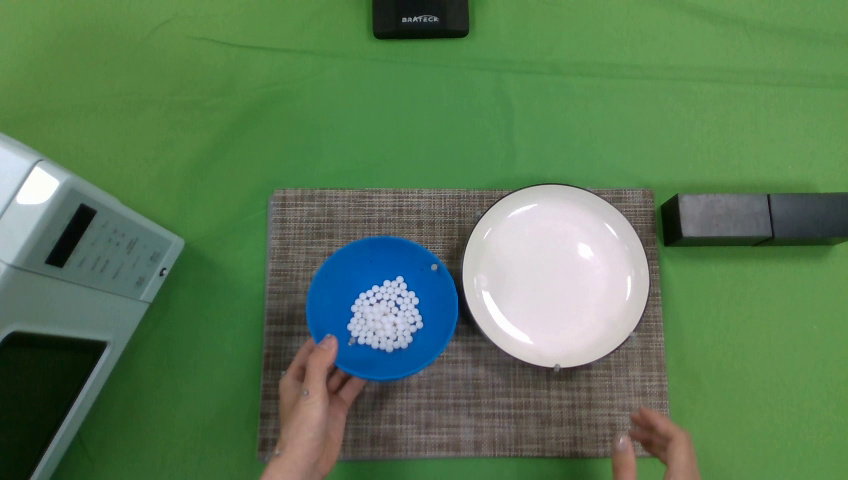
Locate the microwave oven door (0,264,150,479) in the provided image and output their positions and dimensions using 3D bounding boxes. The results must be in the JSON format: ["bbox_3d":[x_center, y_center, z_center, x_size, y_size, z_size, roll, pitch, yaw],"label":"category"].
[{"bbox_3d":[-0.394,0.188,0.526,0.039,0.244,0.355,25,80,5],"label":"microwave oven door"}]

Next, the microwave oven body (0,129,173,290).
[{"bbox_3d":[-0.508,0.089,0.549,0.325,0.261,0.440,26,80,4],"label":"microwave oven body"}]

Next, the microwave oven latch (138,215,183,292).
[{"bbox_3d":[-0.297,0.016,0.664,0.030,0.029,0.079,28,81,4],"label":"microwave oven latch"}]

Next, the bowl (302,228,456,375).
[{"bbox_3d":[-0.046,0.072,0.625,0.151,0.077,0.150,2,65,-4],"label":"bowl"}]

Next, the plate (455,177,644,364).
[{"bbox_3d":[0.137,0.034,0.679,0.208,0.039,0.206,0,79,-1],"label":"plate"}]
